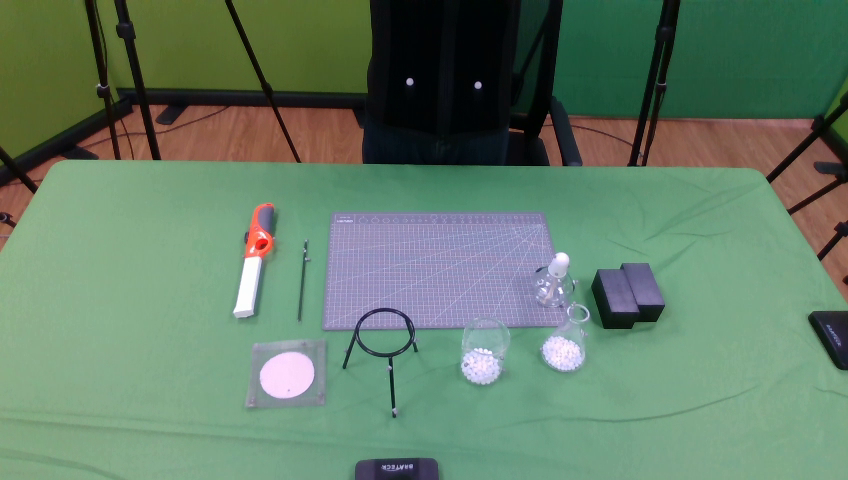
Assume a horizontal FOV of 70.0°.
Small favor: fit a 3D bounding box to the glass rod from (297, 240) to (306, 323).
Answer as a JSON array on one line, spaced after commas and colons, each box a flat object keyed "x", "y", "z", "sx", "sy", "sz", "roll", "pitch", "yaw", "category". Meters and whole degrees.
[{"x": -0.227, "y": 0.072, "z": 1.122, "sx": 0.008, "sy": 0.008, "sz": 0.198, "roll": -2, "pitch": 46, "yaw": -5, "category": "glass rod"}]

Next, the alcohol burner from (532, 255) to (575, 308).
[{"x": 0.235, "y": 0.066, "z": 1.087, "sx": 0.078, "sy": 0.119, "sz": 0.077, "roll": 4, "pitch": 45, "yaw": -3, "category": "alcohol burner"}]

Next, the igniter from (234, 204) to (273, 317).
[{"x": -0.321, "y": 0.029, "z": 1.142, "sx": 0.057, "sy": 0.025, "sz": 0.274, "roll": -7, "pitch": 46, "yaw": 3, "category": "igniter"}]

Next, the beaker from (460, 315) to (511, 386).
[{"x": 0.094, "y": 0.183, "z": 0.977, "sx": 0.084, "sy": 0.101, "sz": 0.073, "roll": -21, "pitch": 51, "yaw": -21, "category": "beaker"}]

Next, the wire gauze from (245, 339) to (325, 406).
[{"x": -0.224, "y": 0.215, "z": 0.984, "sx": 0.125, "sy": 0.011, "sz": 0.120, "roll": -2, "pitch": 46, "yaw": -5, "category": "wire gauze"}]

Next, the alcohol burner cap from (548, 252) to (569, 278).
[{"x": 0.238, "y": 0.042, "z": 1.060, "sx": 0.034, "sy": 0.048, "sz": 0.033, "roll": 1, "pitch": 52, "yaw": -2, "category": "alcohol burner cap"}]

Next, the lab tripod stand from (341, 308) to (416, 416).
[{"x": -0.061, "y": 0.177, "z": 0.946, "sx": 0.148, "sy": 0.132, "sz": 0.147, "roll": 2, "pitch": 44, "yaw": -2, "category": "lab tripod stand"}]

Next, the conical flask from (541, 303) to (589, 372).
[{"x": 0.240, "y": 0.156, "z": 0.998, "sx": 0.075, "sy": 0.122, "sz": 0.075, "roll": 2, "pitch": 46, "yaw": -2, "category": "conical flask"}]
